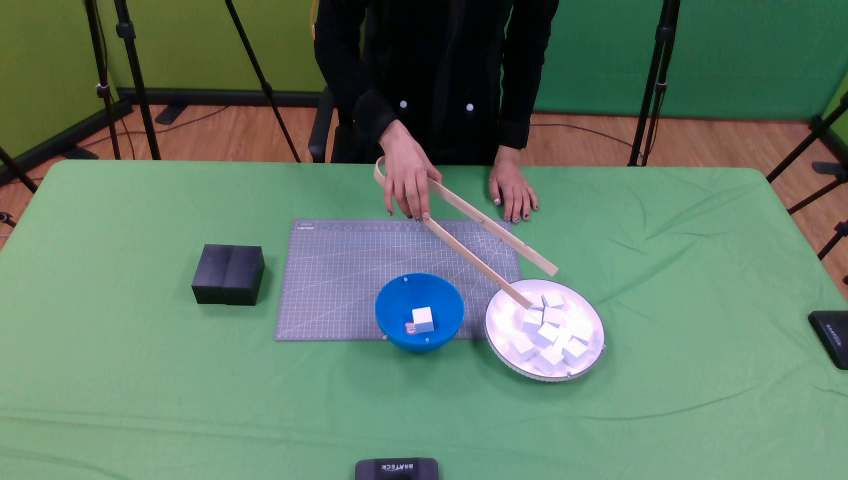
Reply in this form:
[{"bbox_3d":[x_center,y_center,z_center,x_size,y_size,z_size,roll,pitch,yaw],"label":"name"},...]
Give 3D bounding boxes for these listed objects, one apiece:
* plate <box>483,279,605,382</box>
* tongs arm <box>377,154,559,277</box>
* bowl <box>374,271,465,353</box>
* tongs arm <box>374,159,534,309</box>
[{"bbox_3d":[0.204,0.158,1.046,0.208,0.039,0.206,3,47,-3],"label":"plate"},{"bbox_3d":[0.076,-0.043,1.108,0.384,0.026,0.050,37,55,10],"label":"tongs arm"},{"bbox_3d":[-0.009,0.136,1.024,0.151,0.077,0.150,2,47,-2],"label":"bowl"},{"bbox_3d":[0.044,-0.013,1.075,0.386,0.028,0.028,42,59,13],"label":"tongs arm"}]
